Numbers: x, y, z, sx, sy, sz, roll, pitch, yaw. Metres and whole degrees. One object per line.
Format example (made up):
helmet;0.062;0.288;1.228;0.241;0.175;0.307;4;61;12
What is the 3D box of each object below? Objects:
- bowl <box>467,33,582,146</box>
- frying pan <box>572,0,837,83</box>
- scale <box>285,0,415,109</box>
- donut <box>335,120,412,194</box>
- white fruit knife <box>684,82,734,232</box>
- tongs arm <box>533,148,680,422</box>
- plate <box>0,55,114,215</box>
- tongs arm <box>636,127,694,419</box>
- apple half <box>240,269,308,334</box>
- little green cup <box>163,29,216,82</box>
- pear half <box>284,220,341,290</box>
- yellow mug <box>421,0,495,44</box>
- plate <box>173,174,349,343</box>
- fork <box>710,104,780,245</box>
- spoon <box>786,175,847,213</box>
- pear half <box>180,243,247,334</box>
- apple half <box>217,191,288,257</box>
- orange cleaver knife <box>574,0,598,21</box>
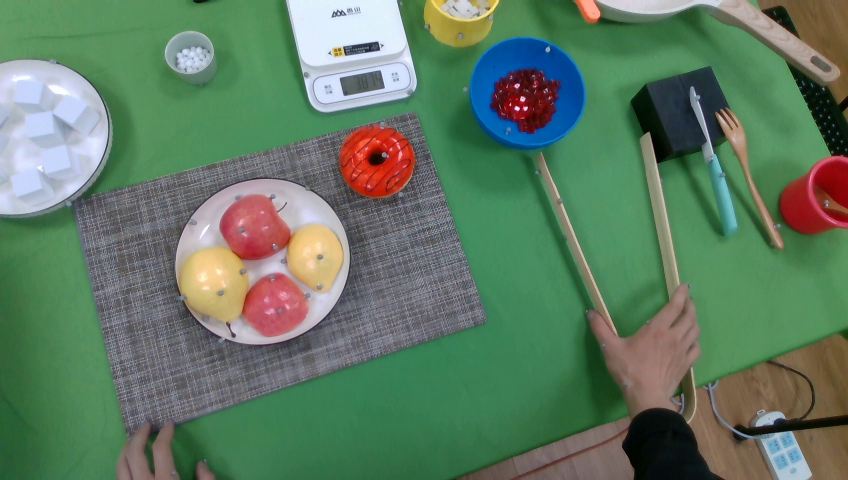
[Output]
bowl;0.125;-0.186;0.803;0.151;0.077;0.150;1;78;-5
frying pan;0.365;-0.376;0.852;0.485;0.103;0.306;43;79;13
scale;-0.103;-0.284;0.826;0.149;0.031;0.200;-13;80;-7
donut;-0.065;-0.107;0.781;0.099;0.048;0.098;1;79;-3
white fruit knife;0.378;-0.110;0.809;0.016;0.027;0.207;-19;95;-9
tongs arm;0.232;0.053;0.784;0.051;0.026;0.383;-17;81;-14
plate;-0.492;-0.128;0.754;0.208;0.039;0.206;1;78;-5
tongs arm;0.314;0.035;0.800;0.028;0.028;0.385;-2;78;-14
apple half;-0.184;0.072;0.726;0.081;0.033;0.081;1;71;-2
little green cup;-0.305;-0.240;0.795;0.061;0.039;0.061;1;77;-4
pear half;-0.140;0.017;0.744;0.070;0.031;0.087;-18;77;5
yellow mug;0.035;-0.341;0.834;0.130;0.064;0.100;39;78;5
plate;-0.195;0.023;0.745;0.209;0.038;0.208;1;77;-5
fork;0.437;-0.087;0.818;0.028;0.018;0.208;-27;97;-12
spoon;0.548;-0.033;0.775;0.041;0.022;0.191;-22;36;-10
pear half;-0.242;0.057;0.711;0.076;0.056;0.109;-23;84;-19
apple half;-0.211;-0.021;0.735;0.074;0.053;0.080;-29;85;-8
orange cleaver knife;0.191;-0.393;0.820;0.077;0.012;0.210;-27;82;-14
